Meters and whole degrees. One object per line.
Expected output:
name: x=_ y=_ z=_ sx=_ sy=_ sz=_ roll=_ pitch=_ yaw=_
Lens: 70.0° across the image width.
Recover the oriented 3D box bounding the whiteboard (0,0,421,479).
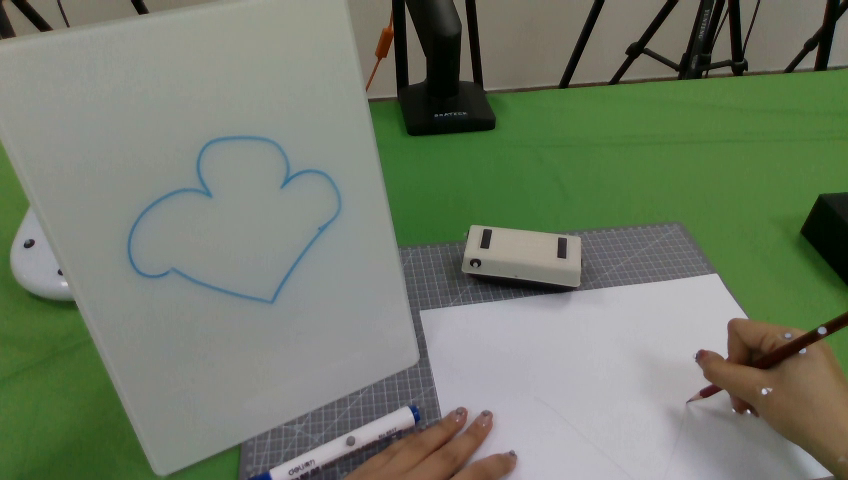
whiteboard: x=-0.151 y=-0.016 z=0.471 sx=0.217 sy=0.307 sz=0.142 roll=-20 pitch=26 yaw=-20

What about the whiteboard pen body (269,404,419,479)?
whiteboard pen body: x=-0.067 y=0.154 z=0.442 sx=0.141 sy=0.017 sz=0.017 roll=-20 pitch=45 yaw=-20

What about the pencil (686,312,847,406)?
pencil: x=0.245 y=0.078 z=0.414 sx=0.012 sy=0.195 sz=0.012 roll=13 pitch=51 yaw=-16

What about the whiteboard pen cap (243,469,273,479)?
whiteboard pen cap: x=-0.119 y=0.173 z=0.420 sx=0.033 sy=0.018 sz=0.018 roll=-21 pitch=45 yaw=-21

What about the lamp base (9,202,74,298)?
lamp base: x=-0.340 y=-0.062 z=0.570 sx=0.178 sy=0.182 sz=0.160 roll=22 pitch=45 yaw=26

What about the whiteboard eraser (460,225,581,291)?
whiteboard eraser: x=0.094 y=0.018 z=0.587 sx=0.112 sy=0.042 sz=0.055 roll=7 pitch=42 yaw=8
